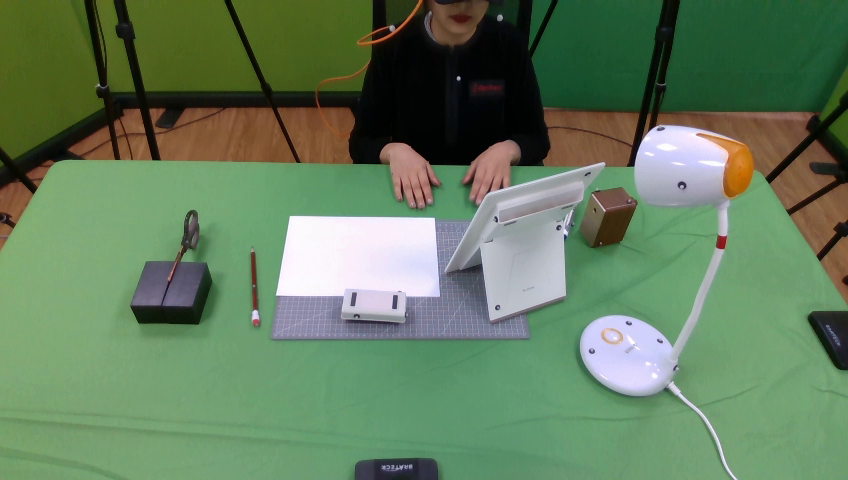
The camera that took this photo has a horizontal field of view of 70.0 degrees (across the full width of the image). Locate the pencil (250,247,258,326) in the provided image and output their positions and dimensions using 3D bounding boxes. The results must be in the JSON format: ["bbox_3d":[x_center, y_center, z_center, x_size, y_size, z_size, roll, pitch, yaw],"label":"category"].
[{"bbox_3d":[-0.312,0.079,1.107,0.012,0.012,0.192,-7,46,-11],"label":"pencil"}]

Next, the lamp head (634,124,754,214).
[{"bbox_3d":[0.351,-0.089,0.775,0.112,0.113,0.122,-30,30,-28],"label":"lamp head"}]

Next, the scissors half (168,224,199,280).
[{"bbox_3d":[-0.442,0.023,1.111,0.013,0.040,0.174,9,29,-8],"label":"scissors half"}]

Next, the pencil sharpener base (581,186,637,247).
[{"bbox_3d":[0.369,-0.047,1.209,0.077,0.107,0.061,-11,47,-15],"label":"pencil sharpener base"}]

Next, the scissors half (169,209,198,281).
[{"bbox_3d":[-0.438,0.007,1.099,0.013,0.040,0.174,5,47,-5],"label":"scissors half"}]

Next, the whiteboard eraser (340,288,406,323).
[{"bbox_3d":[-0.088,0.117,1.060,0.113,0.042,0.055,3,45,-1],"label":"whiteboard eraser"}]

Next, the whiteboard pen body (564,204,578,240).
[{"bbox_3d":[0.307,-0.052,1.270,0.017,0.017,0.140,17,49,12],"label":"whiteboard pen body"}]

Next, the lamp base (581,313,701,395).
[{"bbox_3d":[0.361,0.144,0.972,0.178,0.181,0.160,34,53,23],"label":"lamp base"}]

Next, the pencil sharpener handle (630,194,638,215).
[{"bbox_3d":[0.417,-0.068,1.215,0.031,0.068,0.036,-11,60,-15],"label":"pencil sharpener handle"}]

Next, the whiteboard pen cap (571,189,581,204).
[{"bbox_3d":[0.328,-0.093,1.307,0.018,0.018,0.033,18,51,13],"label":"whiteboard pen cap"}]

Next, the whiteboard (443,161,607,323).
[{"bbox_3d":[0.185,0.025,1.029,0.217,0.306,0.143,-15,68,-18],"label":"whiteboard"}]
